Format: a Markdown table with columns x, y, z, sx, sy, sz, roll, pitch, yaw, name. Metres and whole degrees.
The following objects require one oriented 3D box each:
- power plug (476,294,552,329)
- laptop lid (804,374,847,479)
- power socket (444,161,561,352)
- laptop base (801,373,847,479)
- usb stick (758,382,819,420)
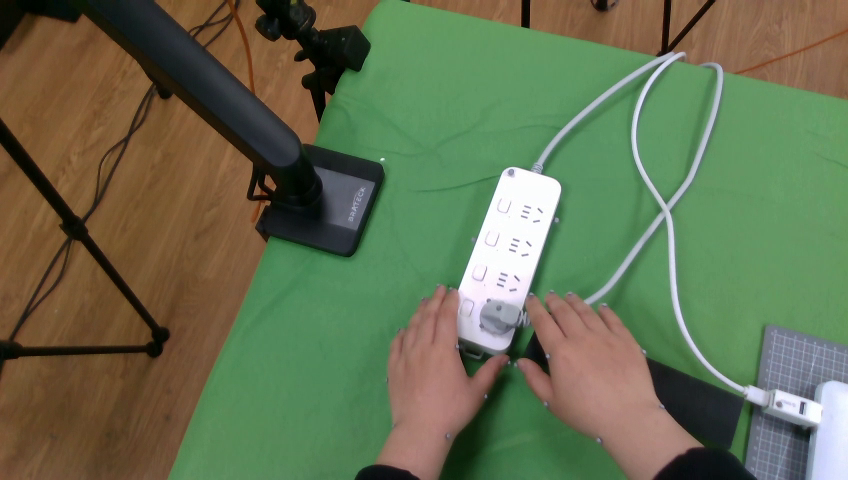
| x | y | z | sx | sy | sz | roll | pitch | yaw | name |
| --- | --- | --- | --- | --- | --- | --- | --- | --- | --- |
| 0.087 | 0.082 | 0.617 | 0.072 | 0.053 | 0.035 | 32 | 73 | 11 | power plug |
| 0.518 | 0.283 | 0.537 | 0.356 | 0.013 | 0.240 | 18 | 74 | 9 | laptop lid |
| 0.088 | 0.012 | 0.663 | 0.072 | 0.033 | 0.225 | 20 | 71 | 9 | power socket |
| 0.520 | 0.284 | 0.548 | 0.353 | 0.023 | 0.234 | 16 | 75 | 9 | laptop base |
| 0.361 | 0.159 | 0.588 | 0.059 | 0.027 | 0.021 | 20 | 69 | 6 | usb stick |
